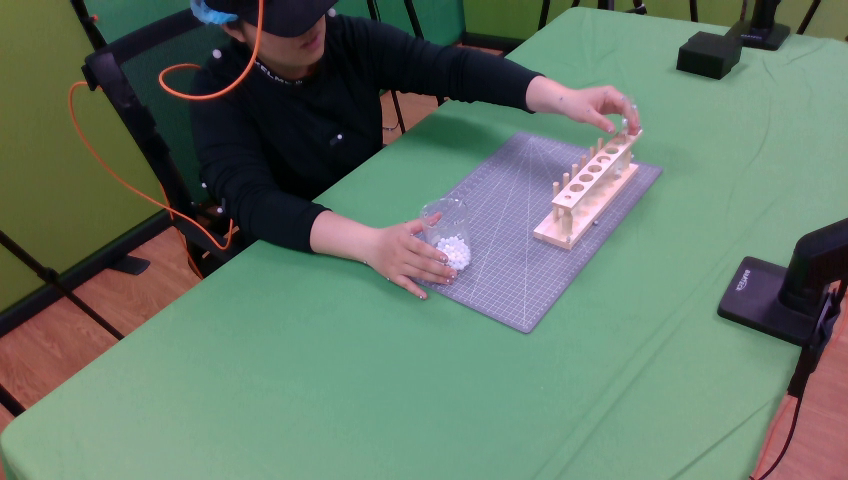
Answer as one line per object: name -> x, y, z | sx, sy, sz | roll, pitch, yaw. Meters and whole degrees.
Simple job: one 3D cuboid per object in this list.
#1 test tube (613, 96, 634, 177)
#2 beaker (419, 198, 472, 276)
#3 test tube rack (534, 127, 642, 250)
test tube -> 0.324, -0.166, 0.987 | 0.017, 0.151, 0.017 | -4, 42, 4
beaker -> 0.037, -0.004, 0.916 | 0.073, 0.101, 0.084 | 24, 49, 33
test tube rack -> 0.271, -0.094, 0.989 | 0.066, 0.085, 0.243 | 23, 50, 33
